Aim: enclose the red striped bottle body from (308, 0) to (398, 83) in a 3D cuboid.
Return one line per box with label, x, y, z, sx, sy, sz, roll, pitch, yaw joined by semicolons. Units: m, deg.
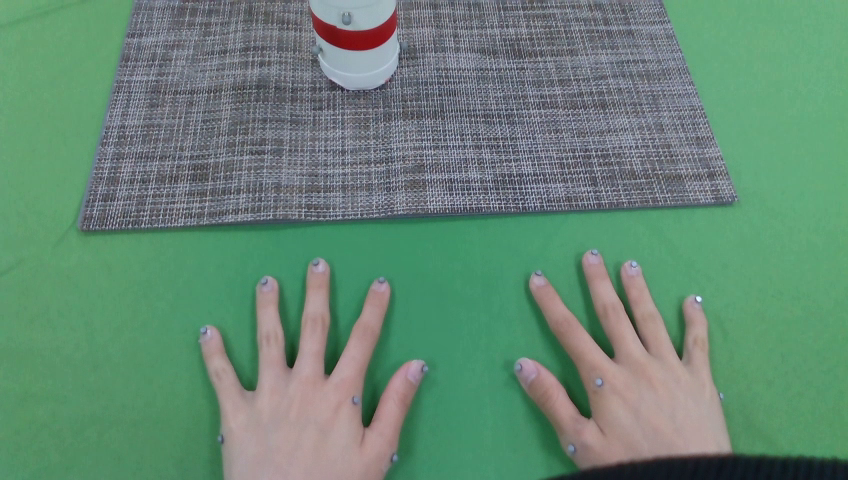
red striped bottle body;-0.051;-0.175;0.427;0.063;0.120;0.062;1;61;-1
